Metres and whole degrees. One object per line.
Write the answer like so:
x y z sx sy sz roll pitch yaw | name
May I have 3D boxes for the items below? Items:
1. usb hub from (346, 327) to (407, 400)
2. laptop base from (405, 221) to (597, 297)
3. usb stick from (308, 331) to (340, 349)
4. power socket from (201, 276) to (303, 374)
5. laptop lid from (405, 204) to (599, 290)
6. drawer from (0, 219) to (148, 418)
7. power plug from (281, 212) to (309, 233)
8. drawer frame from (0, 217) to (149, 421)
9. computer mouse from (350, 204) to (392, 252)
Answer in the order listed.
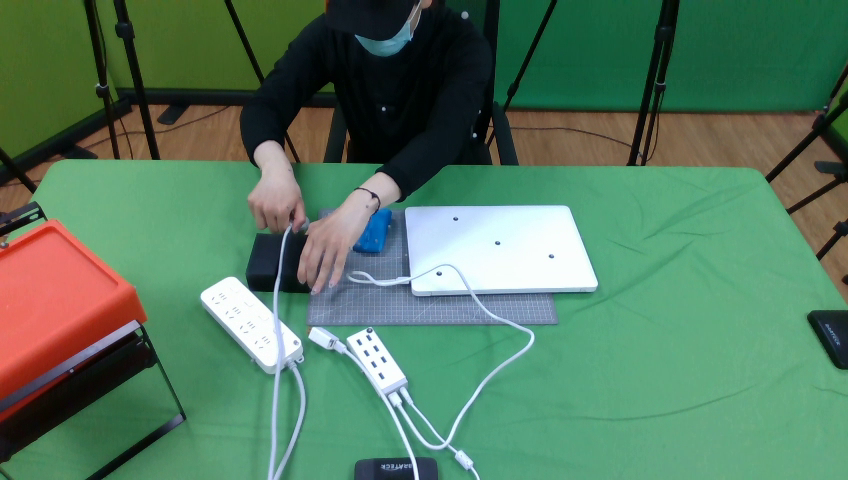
-0.078 0.202 0.998 0.049 0.025 0.124 -23 53 -24 | usb hub
0.143 0.018 1.196 0.355 0.023 0.234 -1 43 -6 | laptop base
-0.174 0.167 1.023 0.059 0.027 0.021 9 88 24 | usb stick
-0.296 0.141 1.034 0.225 0.033 0.072 37 55 27 | power socket
0.144 0.008 1.189 0.357 0.013 0.240 0 44 -5 | laptop lid
-0.509 0.092 0.783 0.193 0.073 0.211 32 53 24 | drawer
-0.258 -0.027 1.184 0.035 0.053 0.072 31 53 26 | power plug
-0.510 0.093 0.780 0.201 0.083 0.213 31 52 23 | drawer frame
-0.104 -0.027 1.202 0.063 0.041 0.116 11 51 4 | computer mouse
